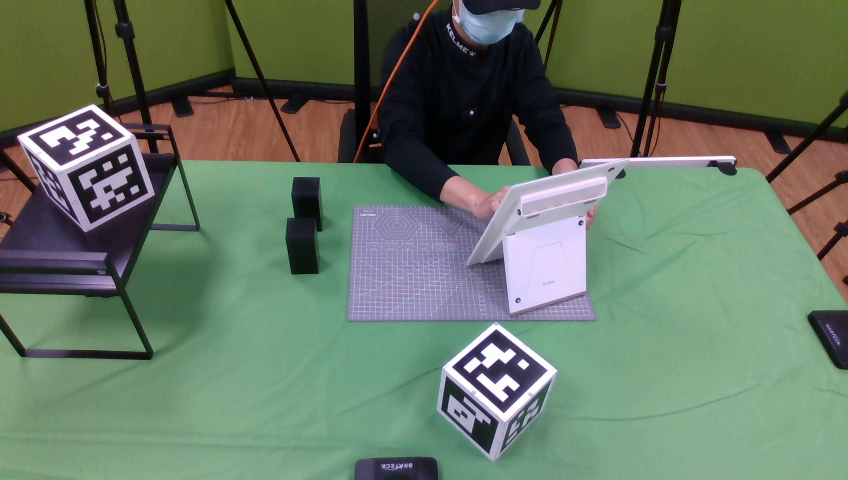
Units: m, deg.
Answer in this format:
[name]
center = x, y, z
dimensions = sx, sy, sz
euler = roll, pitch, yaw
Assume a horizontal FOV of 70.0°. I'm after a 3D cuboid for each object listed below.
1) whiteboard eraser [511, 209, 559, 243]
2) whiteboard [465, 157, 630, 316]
[whiteboard eraser]
center = 0.207, -0.027, 1.128
dimensions = 0.041, 0.101, 0.018
euler = 4, 58, -55
[whiteboard]
center = 0.224, 0.015, 1.041
dimensions = 0.217, 0.306, 0.143
euler = -13, 68, -17
